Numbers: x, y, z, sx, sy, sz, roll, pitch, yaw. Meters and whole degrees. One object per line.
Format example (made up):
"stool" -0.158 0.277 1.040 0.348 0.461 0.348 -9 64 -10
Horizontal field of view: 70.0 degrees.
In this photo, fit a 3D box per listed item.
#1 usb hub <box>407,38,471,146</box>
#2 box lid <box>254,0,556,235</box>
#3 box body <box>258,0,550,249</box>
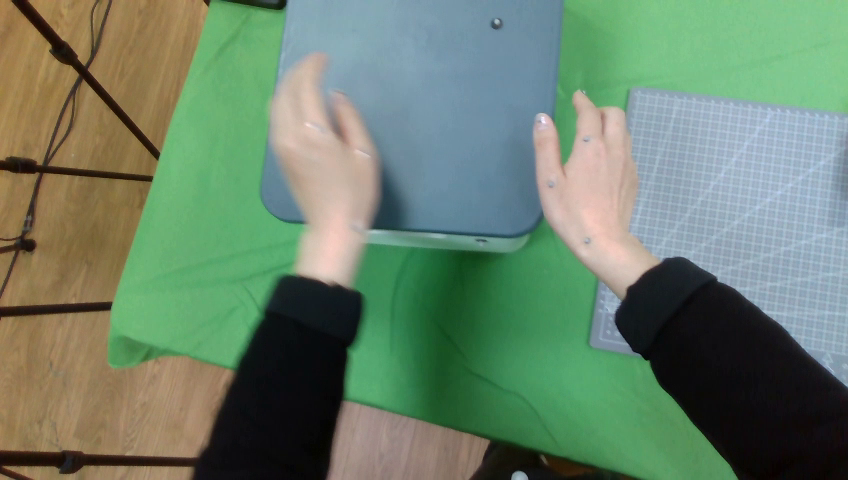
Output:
"usb hub" 0.018 -0.170 0.691 0.049 0.025 0.124 10 76 11
"box lid" -0.012 -0.190 0.565 0.263 0.015 0.370 4 81 8
"box body" -0.003 -0.178 0.638 0.254 0.161 0.362 4 81 7
